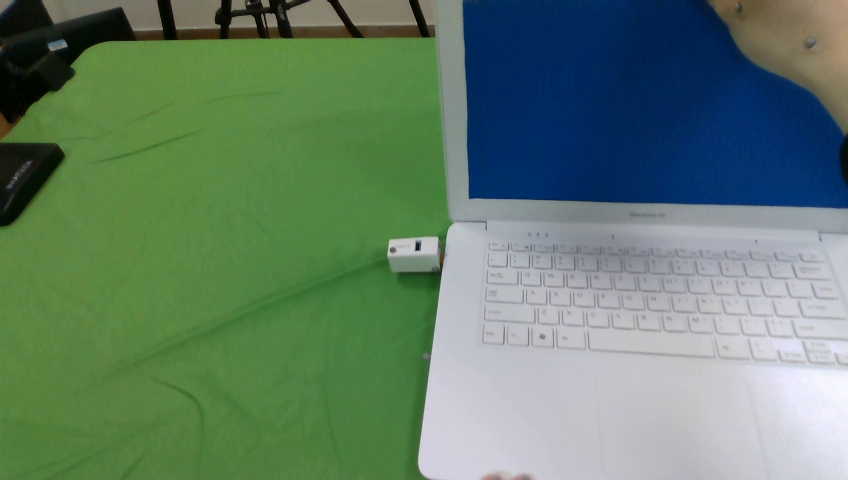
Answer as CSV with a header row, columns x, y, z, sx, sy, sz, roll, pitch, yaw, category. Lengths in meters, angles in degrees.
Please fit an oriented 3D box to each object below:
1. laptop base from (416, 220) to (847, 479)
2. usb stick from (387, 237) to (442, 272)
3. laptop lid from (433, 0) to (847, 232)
x,y,z,sx,sy,sz,roll,pitch,yaw,category
0.182,0.080,0.465,0.354,0.023,0.233,2,51,8,laptop base
-0.001,0.013,0.530,0.059,0.027,0.021,-1,49,7,usb stick
0.187,-0.094,0.458,0.356,0.244,0.013,1,44,9,laptop lid
